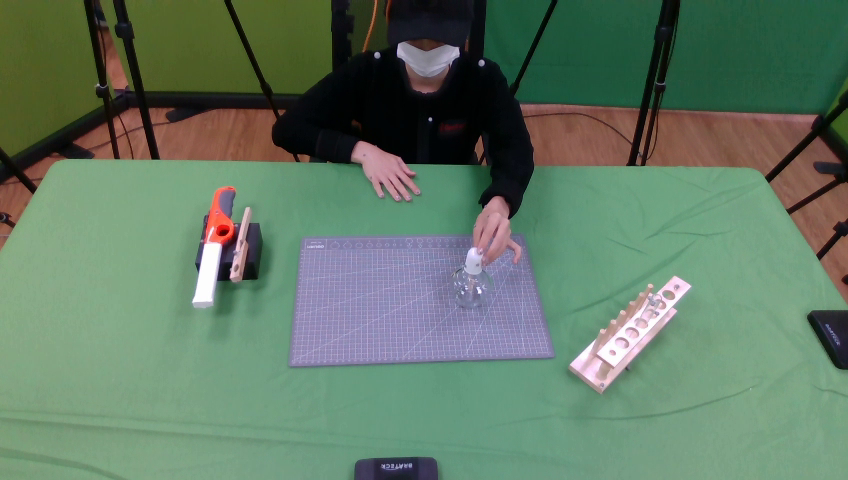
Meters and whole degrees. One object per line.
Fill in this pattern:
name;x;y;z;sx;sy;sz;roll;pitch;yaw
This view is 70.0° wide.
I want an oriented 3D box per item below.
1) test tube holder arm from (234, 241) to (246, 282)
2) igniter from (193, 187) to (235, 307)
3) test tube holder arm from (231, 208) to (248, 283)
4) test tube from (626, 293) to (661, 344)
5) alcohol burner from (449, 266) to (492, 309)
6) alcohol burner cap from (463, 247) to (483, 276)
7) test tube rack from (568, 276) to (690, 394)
test tube holder arm;-0.325;0.037;1.072;0.010;0.015;0.087;-5;46;-3
igniter;-0.378;0.003;1.096;0.057;0.025;0.274;-1;49;-6
test tube holder arm;-0.335;0.006;1.103;0.013;0.015;0.177;-6;47;-4
test tube;0.355;0.133;0.984;0.017;0.151;0.017;1;52;0
alcohol burner;0.083;0.066;1.074;0.078;0.120;0.077;1;44;-1
alcohol burner cap;0.086;0.034;1.041;0.034;0.048;0.033;3;42;-2
test tube rack;0.353;0.149;1.039;0.242;0.085;0.066;-34;56;-31
